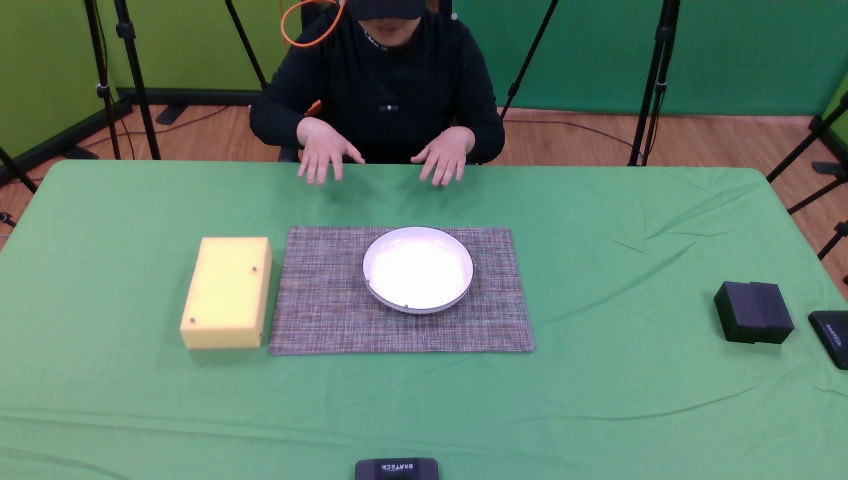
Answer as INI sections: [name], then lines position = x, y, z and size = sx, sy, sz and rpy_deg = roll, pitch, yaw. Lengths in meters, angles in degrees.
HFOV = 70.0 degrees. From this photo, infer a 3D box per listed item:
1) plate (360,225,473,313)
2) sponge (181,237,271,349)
[plate]
position = -0.014, 0.057, 1.126
size = 0.208, 0.039, 0.206
rpy_deg = 2, 46, -2
[sponge]
position = -0.341, 0.088, 1.062
size = 0.118, 0.061, 0.205
rpy_deg = -2, 47, -6
